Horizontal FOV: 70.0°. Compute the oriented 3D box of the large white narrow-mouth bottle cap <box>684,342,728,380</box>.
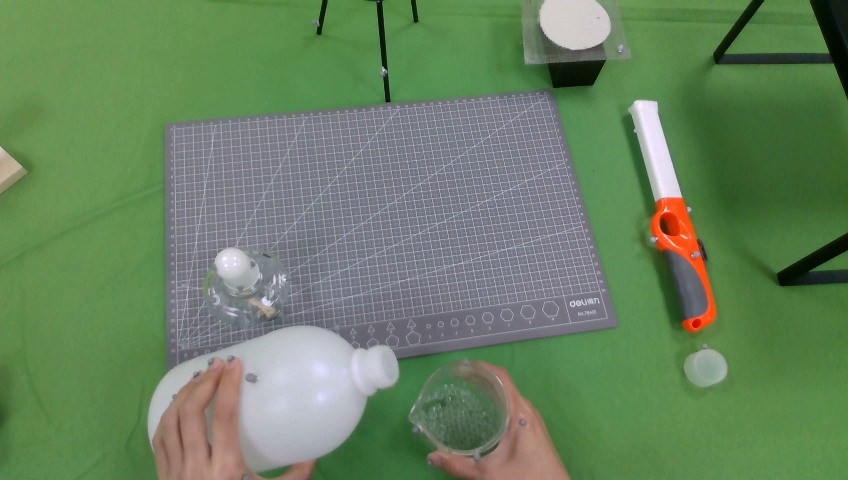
[{"bbox_3d":[0.286,0.123,0.616,0.038,0.024,0.037,2,67,-4],"label":"large white narrow-mouth bottle cap"}]

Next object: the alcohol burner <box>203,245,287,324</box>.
[{"bbox_3d":[-0.167,0.035,0.559,0.078,0.120,0.077,3,66,-5],"label":"alcohol burner"}]

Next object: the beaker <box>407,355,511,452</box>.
[{"bbox_3d":[0.025,0.147,0.528,0.084,0.101,0.073,-9,70,-8],"label":"beaker"}]

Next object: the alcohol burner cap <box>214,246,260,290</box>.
[{"bbox_3d":[-0.164,0.023,0.525,0.034,0.048,0.033,1,73,-1],"label":"alcohol burner cap"}]

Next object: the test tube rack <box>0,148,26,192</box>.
[{"bbox_3d":[-0.522,-0.025,0.571,0.066,0.085,0.242,39,70,11],"label":"test tube rack"}]

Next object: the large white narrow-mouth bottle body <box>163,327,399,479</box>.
[{"bbox_3d":[-0.102,0.125,0.466,0.194,0.102,0.101,-33,70,20],"label":"large white narrow-mouth bottle body"}]

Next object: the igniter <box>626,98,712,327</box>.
[{"bbox_3d":[0.270,-0.038,0.674,0.057,0.025,0.274,0,68,-16],"label":"igniter"}]

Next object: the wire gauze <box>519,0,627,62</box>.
[{"bbox_3d":[0.171,-0.261,0.712,0.121,0.011,0.124,0,68,-5],"label":"wire gauze"}]

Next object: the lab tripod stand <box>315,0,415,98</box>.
[{"bbox_3d":[-0.057,-0.256,0.677,0.148,0.132,0.147,2,69,-6],"label":"lab tripod stand"}]
